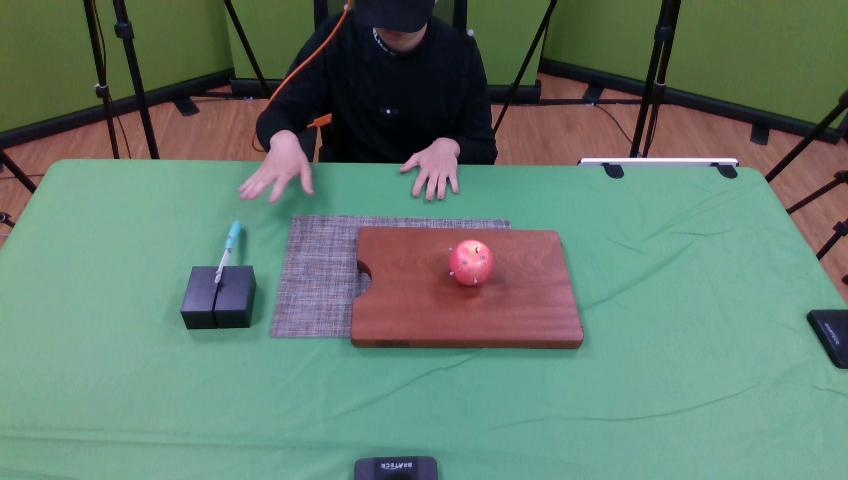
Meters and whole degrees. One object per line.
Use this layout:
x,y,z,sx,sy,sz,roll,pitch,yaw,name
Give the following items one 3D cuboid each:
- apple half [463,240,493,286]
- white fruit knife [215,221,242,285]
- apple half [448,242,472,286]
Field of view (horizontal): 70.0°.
0.097,0.042,1.093,0.053,0.075,0.080,-3,42,-13,apple half
-0.360,0.019,1.114,0.016,0.027,0.206,-1,32,-5,white fruit knife
0.059,0.046,1.085,0.033,0.081,0.080,-4,46,-13,apple half
